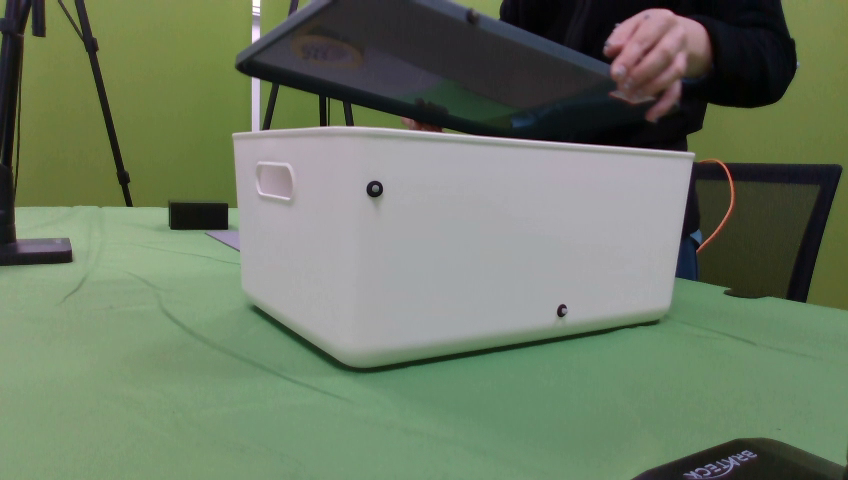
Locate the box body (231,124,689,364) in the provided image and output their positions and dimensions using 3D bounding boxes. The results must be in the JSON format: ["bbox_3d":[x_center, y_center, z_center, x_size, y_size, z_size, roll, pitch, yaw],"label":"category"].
[{"bbox_3d":[0.031,-0.013,0.563,0.366,0.160,0.253,-3,8,-33],"label":"box body"}]

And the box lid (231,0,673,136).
[{"bbox_3d":[0.028,-0.151,0.584,0.374,0.015,0.262,7,-4,-35],"label":"box lid"}]

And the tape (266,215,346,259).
[{"bbox_3d":[-0.168,-0.006,0.872,0.117,0.052,0.117,3,7,0],"label":"tape"}]
